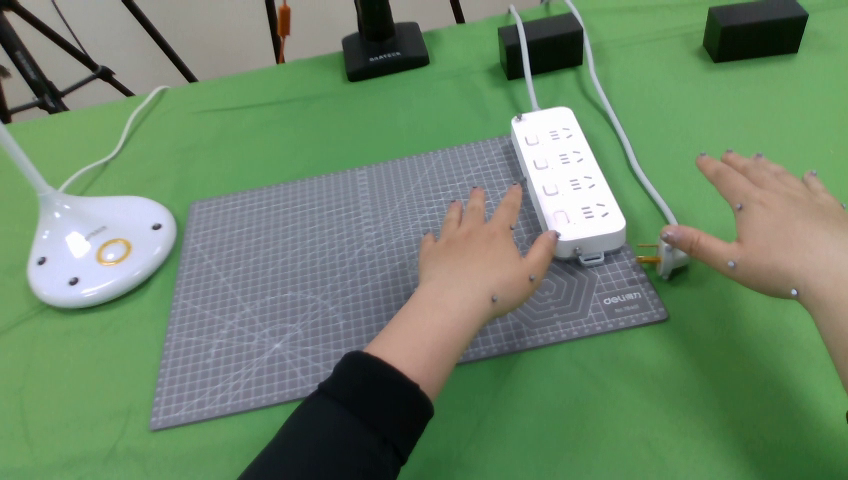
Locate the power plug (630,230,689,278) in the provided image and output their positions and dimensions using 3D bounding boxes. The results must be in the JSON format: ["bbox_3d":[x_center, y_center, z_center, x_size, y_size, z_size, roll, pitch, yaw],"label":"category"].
[{"bbox_3d":[0.213,0.012,0.558,0.052,0.035,0.072,3,10,9],"label":"power plug"}]

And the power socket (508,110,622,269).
[{"bbox_3d":[0.140,-0.063,0.630,0.072,0.033,0.224,-10,45,2],"label":"power socket"}]

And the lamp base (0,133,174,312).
[{"bbox_3d":[-0.378,-0.041,0.617,0.178,0.182,0.160,16,51,29],"label":"lamp base"}]
